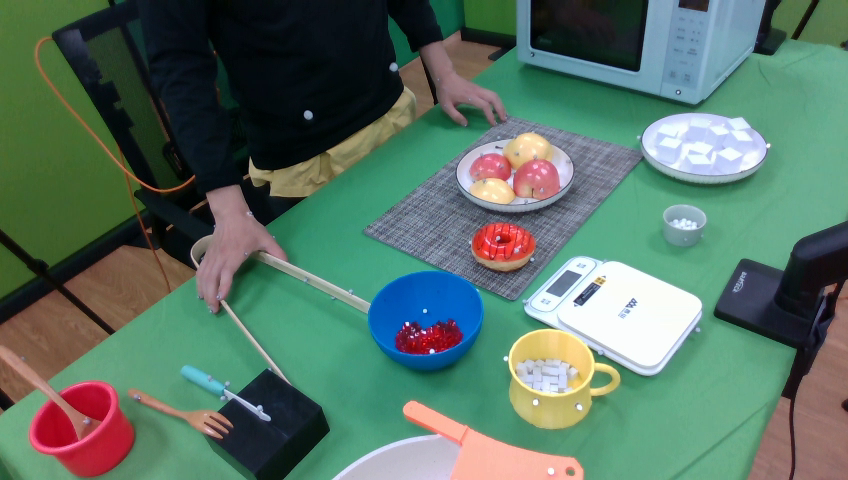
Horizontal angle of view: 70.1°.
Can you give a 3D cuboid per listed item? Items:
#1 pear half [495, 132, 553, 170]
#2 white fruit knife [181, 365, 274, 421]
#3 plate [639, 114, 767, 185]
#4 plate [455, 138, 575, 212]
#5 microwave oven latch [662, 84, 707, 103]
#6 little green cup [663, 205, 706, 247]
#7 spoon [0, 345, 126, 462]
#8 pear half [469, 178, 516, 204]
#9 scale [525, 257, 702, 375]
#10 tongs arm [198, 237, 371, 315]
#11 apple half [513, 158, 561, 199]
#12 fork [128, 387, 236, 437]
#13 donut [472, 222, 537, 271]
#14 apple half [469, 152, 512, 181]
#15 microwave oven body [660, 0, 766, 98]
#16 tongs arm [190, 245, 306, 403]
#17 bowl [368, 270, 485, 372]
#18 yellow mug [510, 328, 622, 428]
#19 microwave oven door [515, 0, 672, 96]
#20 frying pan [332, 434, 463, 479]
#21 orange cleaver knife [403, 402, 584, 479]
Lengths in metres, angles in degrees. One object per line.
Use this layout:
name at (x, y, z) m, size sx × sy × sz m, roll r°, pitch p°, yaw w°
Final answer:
pear half at (0.175, -0.168, 1.094) m, size 0.109 × 0.056 × 0.076 m, roll 16°, pitch 54°, yaw 29°
white fruit knife at (-0.245, 0.187, 0.747) m, size 0.205 × 0.027 × 0.016 m, roll 9°, pitch 42°, yaw 41°
plate at (0.489, -0.157, 1.074) m, size 0.207 × 0.039 × 0.206 m, roll -4°, pitch 40°, yaw 4°
plate at (0.159, -0.111, 1.063) m, size 0.209 × 0.038 × 0.208 m, roll -4°, pitch 40°, yaw 4°
microwave oven latch at (0.517, -0.296, 1.204) m, size 0.078 × 0.029 × 0.030 m, roll 27°, pitch 52°, yaw 35°
little green cup at (0.396, -0.020, 0.926) m, size 0.061 × 0.039 × 0.061 m, roll -4°, pitch 40°, yaw 4°
spoon at (-0.434, 0.192, 0.720) m, size 0.194 × 0.021 × 0.042 m, roll 47°, pitch 53°, yaw -7°
pear half at (0.115, -0.090, 1.035) m, size 0.087 × 0.031 × 0.071 m, roll 27°, pitch 38°, yaw 31°
scale at (0.254, 0.091, 0.821) m, size 0.199 × 0.032 × 0.149 m, roll 28°, pitch 51°, yaw 35°
tongs arm at (-0.211, 0.062, 0.924) m, size 0.382 × 0.026 × 0.051 m, roll 22°, pitch 53°, yaw 32°
apple half at (0.193, -0.111, 1.031) m, size 0.080 × 0.053 × 0.075 m, roll 12°, pitch 41°, yaw 26°
fork at (-0.305, 0.207, 0.744) m, size 0.206 × 0.019 × 0.028 m, roll 3°, pitch 41°, yaw 36°
donut at (0.123, 0.008, 0.923) m, size 0.099 × 0.048 × 0.098 m, roll -3°, pitch 38°, yaw 3°
apple half at (0.120, -0.139, 1.088) m, size 0.081 × 0.033 × 0.081 m, roll 0°, pitch 45°, yaw 0°
microwave oven body at (0.472, -0.513, 1.317) m, size 0.438 × 0.261 × 0.327 m, roll 26°, pitch 51°, yaw 34°
tongs arm at (-0.268, 0.110, 0.883) m, size 0.028 × 0.028 × 0.384 m, roll -37°, pitch 47°, yaw -19°
bowl at (0.007, 0.118, 0.791) m, size 0.151 × 0.077 × 0.150 m, roll -5°, pitch 40°, yaw 4°
yellow mug at (0.168, 0.164, 0.722) m, size 0.130 × 0.064 × 0.099 m, roll 0°, pitch 40°, yaw 8°
microwave oven door at (0.343, -0.454, 1.259) m, size 0.353 × 0.245 × 0.039 m, roll 26°, pitch 51°, yaw 33°
frying pan at (-0.089, 0.306, 0.564) m, size 0.487 × 0.103 × 0.306 m, roll 10°, pitch 41°, yaw 7°
orange cleaver knife at (0.062, 0.222, 0.609) m, size 0.210 × 0.012 × 0.077 m, roll 15°, pitch 48°, yaw 25°
